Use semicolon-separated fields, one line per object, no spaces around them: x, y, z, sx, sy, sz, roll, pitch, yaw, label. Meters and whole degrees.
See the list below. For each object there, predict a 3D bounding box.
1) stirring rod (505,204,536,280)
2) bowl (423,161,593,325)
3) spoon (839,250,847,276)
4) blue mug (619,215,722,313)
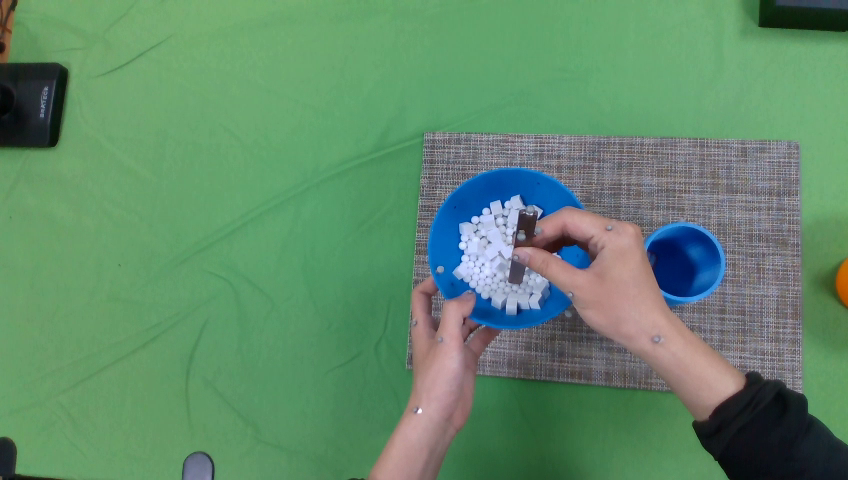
0.078;0.007;0.498;0.014;0.177;0.006;0;70;5;stirring rod
0.082;0.009;0.577;0.151;0.077;0.150;-2;78;11;bowl
0.530;0.039;0.611;0.022;0.192;0.041;29;83;-34;spoon
0.255;0.036;0.664;0.082;0.106;0.116;41;89;11;blue mug
